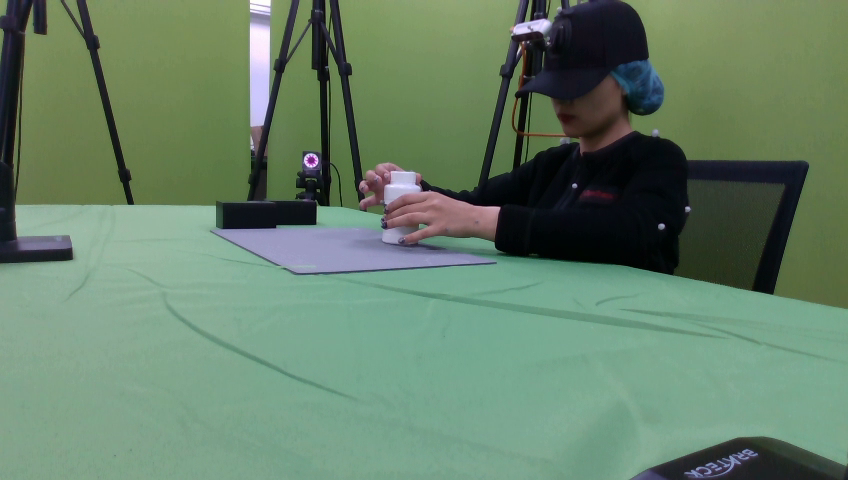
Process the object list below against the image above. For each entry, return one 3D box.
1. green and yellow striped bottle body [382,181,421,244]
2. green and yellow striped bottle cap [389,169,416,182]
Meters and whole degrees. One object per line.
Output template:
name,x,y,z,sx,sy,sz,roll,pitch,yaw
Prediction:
green and yellow striped bottle body,-0.037,-0.055,1.018,0.063,0.119,0.063,3,8,0
green and yellow striped bottle cap,-0.036,-0.107,1.013,0.045,0.020,0.045,4,10,0
